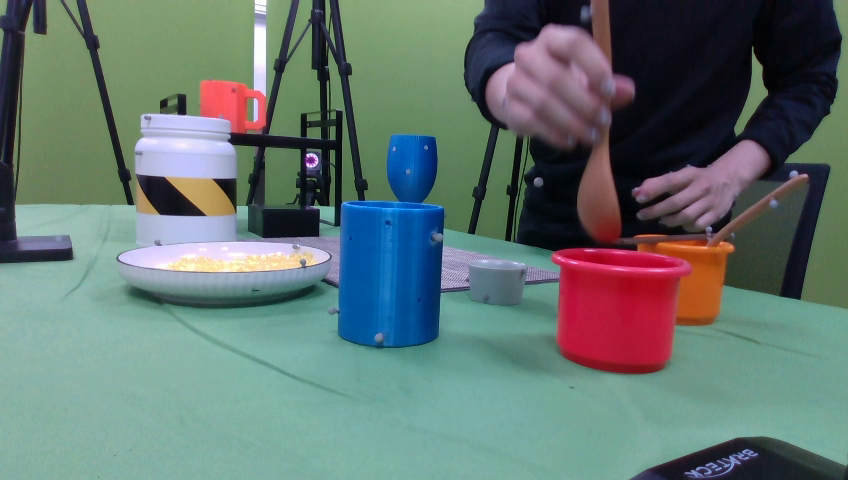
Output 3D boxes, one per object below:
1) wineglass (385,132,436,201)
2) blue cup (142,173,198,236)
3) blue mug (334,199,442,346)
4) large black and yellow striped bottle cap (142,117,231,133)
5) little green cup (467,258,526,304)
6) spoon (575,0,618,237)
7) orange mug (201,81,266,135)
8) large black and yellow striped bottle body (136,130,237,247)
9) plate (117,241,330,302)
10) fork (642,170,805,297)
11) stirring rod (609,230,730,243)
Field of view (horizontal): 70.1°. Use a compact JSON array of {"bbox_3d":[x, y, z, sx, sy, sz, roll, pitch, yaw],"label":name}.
[{"bbox_3d":[-0.020,-0.061,0.842,0.074,0.172,0.073,2,7,0],"label":"wineglass"},{"bbox_3d":[-0.425,-0.060,1.014,0.093,0.100,0.092,4,9,0],"label":"blue cup"},{"bbox_3d":[-0.034,0.020,0.498,0.083,0.106,0.116,0,7,-20],"label":"blue mug"},{"bbox_3d":[-0.328,-0.159,0.839,0.115,0.019,0.115,1,8,0],"label":"large black and yellow striped bottle cap"},{"bbox_3d":[0.074,0.042,0.626,0.061,0.038,0.061,3,7,0],"label":"little green cup"},{"bbox_3d":[0.127,-0.094,0.447,0.022,0.193,0.041,-10,15,-26],"label":"spoon"},{"bbox_3d":[-0.377,-0.259,1.197,0.126,0.101,0.083,-2,7,-6],"label":"orange mug"},{"bbox_3d":[-0.332,-0.076,0.851,0.131,0.184,0.130,3,8,0],"label":"large black and yellow striped bottle body"},{"bbox_3d":[-0.203,0.031,0.630,0.209,0.038,0.209,3,7,0],"label":"plate"},{"bbox_3d":[0.261,0.003,0.545,0.028,0.018,0.207,5,-37,-16],"label":"fork"},{"bbox_3d":[0.241,-0.004,0.582,0.177,0.006,0.014,-4,9,-33],"label":"stirring rod"}]
